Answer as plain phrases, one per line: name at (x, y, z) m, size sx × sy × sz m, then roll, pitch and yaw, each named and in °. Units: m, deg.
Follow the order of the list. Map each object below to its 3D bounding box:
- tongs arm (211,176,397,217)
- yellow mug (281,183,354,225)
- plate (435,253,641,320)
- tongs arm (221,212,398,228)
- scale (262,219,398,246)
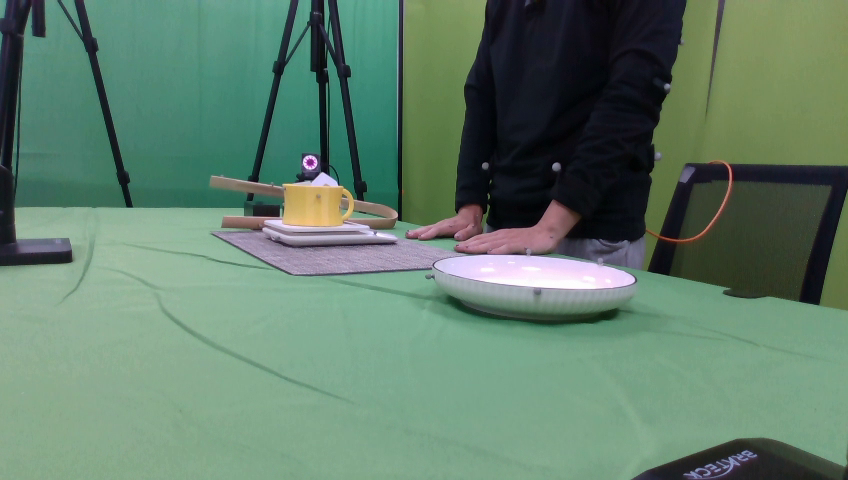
tongs arm at (-0.240, -0.084, 1.257) m, size 0.387 × 0.026 × 0.050 m, roll 7°, pitch 28°, yaw -27°
yellow mug at (-0.172, -0.061, 1.009) m, size 0.131 × 0.064 × 0.099 m, roll -2°, pitch 7°, yaw -41°
plate at (0.114, 0.047, 0.626) m, size 0.208 × 0.039 × 0.207 m, roll 2°, pitch 7°, yaw 0°
tongs arm at (-0.208, -0.039, 1.198) m, size 0.390 × 0.028 × 0.028 m, roll -2°, pitch 30°, yaw -38°
scale at (-0.160, -0.016, 1.028) m, size 0.202 × 0.031 × 0.148 m, roll -2°, pitch 9°, yaw -32°
